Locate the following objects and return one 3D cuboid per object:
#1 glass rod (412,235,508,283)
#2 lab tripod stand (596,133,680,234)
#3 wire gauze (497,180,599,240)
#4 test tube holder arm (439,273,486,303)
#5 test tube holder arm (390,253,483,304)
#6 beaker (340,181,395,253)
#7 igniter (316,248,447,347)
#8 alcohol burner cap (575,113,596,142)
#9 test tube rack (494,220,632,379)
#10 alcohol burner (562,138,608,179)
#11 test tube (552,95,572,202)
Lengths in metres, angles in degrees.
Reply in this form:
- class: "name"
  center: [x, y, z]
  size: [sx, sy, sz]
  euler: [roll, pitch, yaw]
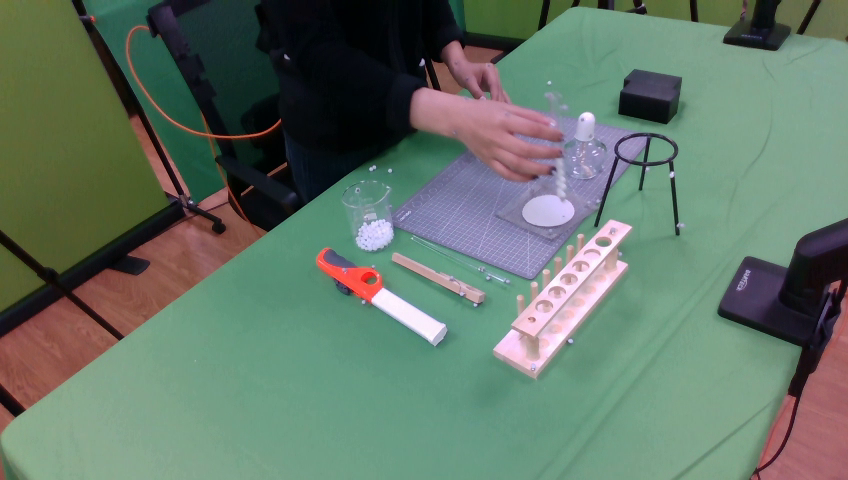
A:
- class: "glass rod"
  center: [0.052, 0.028, 0.951]
  size: [0.198, 0.008, 0.008]
  euler: [25, 52, 37]
- class: "lab tripod stand"
  center: [0.338, -0.090, 0.940]
  size: [0.148, 0.132, 0.147]
  euler: [-7, 38, 6]
- class: "wire gauze"
  center: [0.207, -0.050, 1.011]
  size: [0.125, 0.011, 0.120]
  euler: [-34, 45, -26]
- class: "test tube holder arm"
  center: [0.053, 0.070, 0.896]
  size: [0.087, 0.015, 0.010]
  euler: [24, 15, 34]
- class: "test tube holder arm"
  center: [0.015, 0.055, 0.916]
  size: [0.177, 0.015, 0.013]
  euler: [24, 15, 33]
- class: "beaker"
  center: [-0.086, -0.037, 0.985]
  size: [0.084, 0.101, 0.073]
  euler: [-18, 41, -11]
- class: "igniter"
  center: [-0.074, 0.079, 0.901]
  size: [0.274, 0.025, 0.057]
  euler: [29, 64, 37]
- class: "alcohol burner cap"
  center: [0.277, -0.194, 1.028]
  size: [0.034, 0.048, 0.033]
  euler: [-2, 45, 2]
- class: "test tube rack"
  center: [0.191, 0.068, 0.818]
  size: [0.066, 0.085, 0.243]
  euler: [25, 51, 35]
- class: "alcohol burner"
  center: [0.280, -0.167, 1.052]
  size: [0.078, 0.119, 0.077]
  euler: [-5, 39, 4]
- class: "test tube"
  center: [0.177, -0.113, 0.773]
  size: [0.017, 0.151, 0.017]
  euler: [-9, 35, 7]
